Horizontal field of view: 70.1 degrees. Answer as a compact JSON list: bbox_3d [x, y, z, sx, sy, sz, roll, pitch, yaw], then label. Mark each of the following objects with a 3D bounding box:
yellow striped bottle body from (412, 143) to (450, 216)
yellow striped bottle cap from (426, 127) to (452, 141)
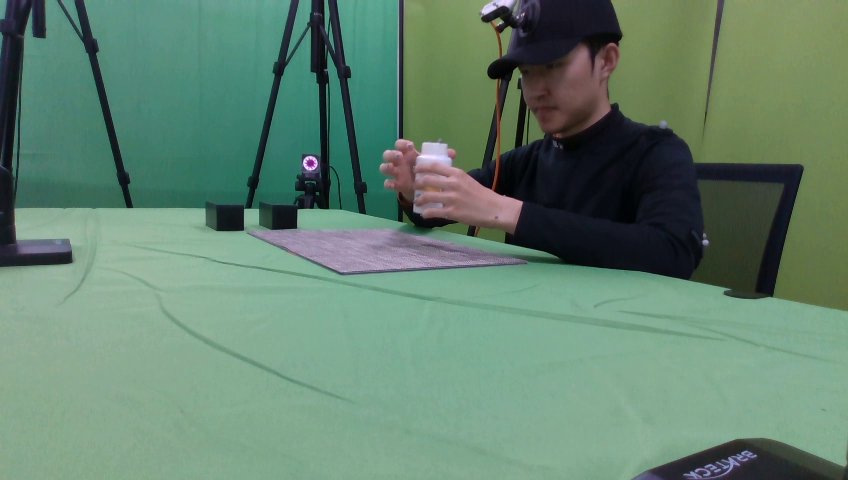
[{"bbox_3d":[0.012,-0.107,1.052,0.063,0.120,0.063,-3,18,1],"label":"yellow striped bottle body"},{"bbox_3d":[0.025,-0.181,1.030,0.044,0.018,0.044,6,1,0],"label":"yellow striped bottle cap"}]
